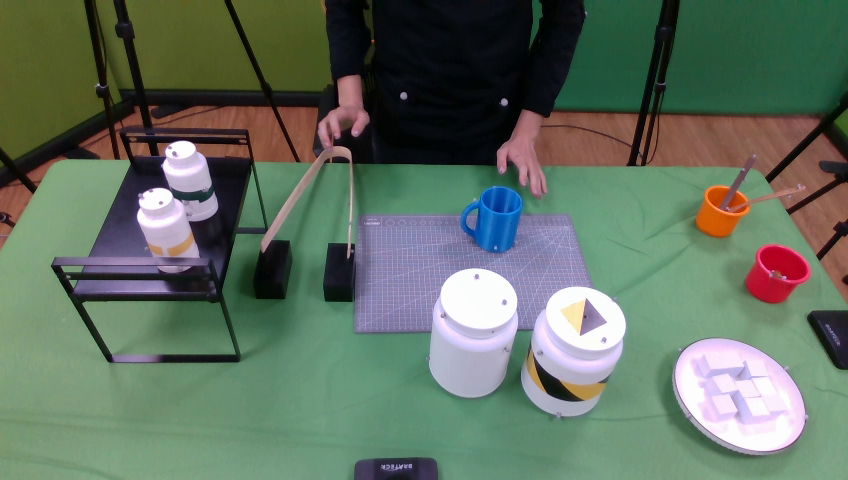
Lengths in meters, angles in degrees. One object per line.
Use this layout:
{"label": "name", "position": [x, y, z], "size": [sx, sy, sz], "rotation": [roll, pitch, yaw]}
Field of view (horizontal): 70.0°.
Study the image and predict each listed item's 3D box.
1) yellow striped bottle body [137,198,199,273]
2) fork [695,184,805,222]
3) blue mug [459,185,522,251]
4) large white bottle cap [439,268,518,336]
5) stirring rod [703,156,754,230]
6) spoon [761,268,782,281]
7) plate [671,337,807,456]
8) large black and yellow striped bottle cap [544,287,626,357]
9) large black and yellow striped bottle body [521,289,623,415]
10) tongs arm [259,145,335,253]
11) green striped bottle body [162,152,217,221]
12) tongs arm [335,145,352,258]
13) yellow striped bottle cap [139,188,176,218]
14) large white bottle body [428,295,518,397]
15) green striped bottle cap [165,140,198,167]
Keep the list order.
{"label": "yellow striped bottle body", "position": [-0.366, -0.014, 0.864], "size": [0.063, 0.121, 0.062], "rotation": [2, 46, -2]}
{"label": "fork", "position": [0.657, -0.075, 1.230], "size": [0.207, 0.019, 0.028], "rotation": [-23, 34, 37]}
{"label": "blue mug", "position": [0.127, -0.042, 1.185], "size": [0.116, 0.106, 0.082], "rotation": [0, 47, -4]}
{"label": "large white bottle cap", "position": [0.080, 0.089, 0.888], "size": [0.115, 0.018, 0.114], "rotation": [2, 47, -2]}
{"label": "stirring rod", "position": [0.631, -0.098, 1.258], "size": [0.014, 0.006, 0.176], "rotation": [33, 95, 29]}
{"label": "spoon", "position": [0.638, 0.060, 1.105], "size": [0.041, 0.021, 0.194], "rotation": [38, 11, 24]}
{"label": "plate", "position": [0.503, 0.254, 0.984], "size": [0.208, 0.039, 0.206], "rotation": [2, 46, -2]}
{"label": "large black and yellow striped bottle cap", "position": [0.232, 0.116, 0.876], "size": [0.115, 0.019, 0.114], "rotation": [1, 45, -1]}
{"label": "large black and yellow striped bottle body", "position": [0.228, 0.173, 0.938], "size": [0.131, 0.185, 0.130], "rotation": [2, 47, -2]}
{"label": "tongs arm", "position": [-0.253, -0.097, 1.233], "size": [0.028, 0.028, 0.385], "rotation": [5, 36, 10]}
{"label": "green striped bottle body", "position": [-0.363, -0.092, 0.939], "size": [0.063, 0.120, 0.063], "rotation": [2, 46, -2]}
{"label": "tongs arm", "position": [-0.170, -0.092, 1.234], "size": [0.051, 0.026, 0.382], "rotation": [-1, 37, -3]}
{"label": "yellow striped bottle cap", "position": [-0.364, -0.051, 0.826], "size": [0.044, 0.019, 0.044], "rotation": [1, 47, -1]}
{"label": "large white bottle body", "position": [0.076, 0.147, 0.950], "size": [0.131, 0.185, 0.130], "rotation": [2, 46, -2]}
{"label": "green striped bottle cap", "position": [-0.361, -0.129, 0.902], "size": [0.044, 0.020, 0.044], "rotation": [3, 47, -3]}
